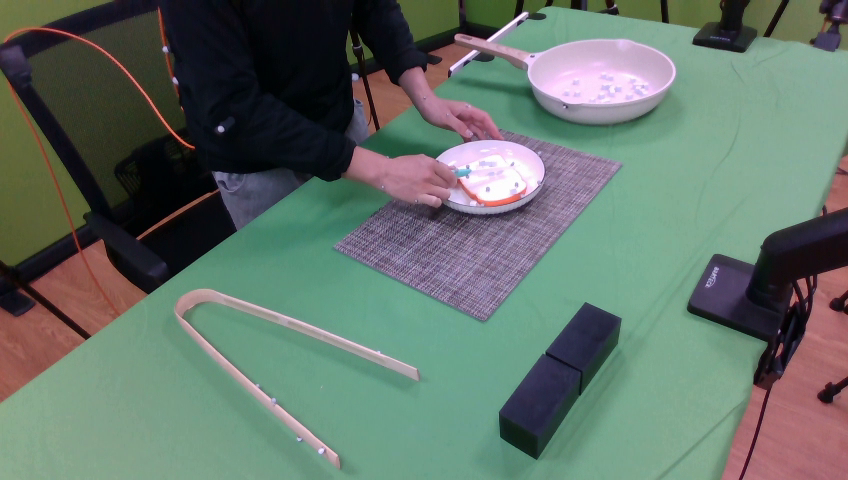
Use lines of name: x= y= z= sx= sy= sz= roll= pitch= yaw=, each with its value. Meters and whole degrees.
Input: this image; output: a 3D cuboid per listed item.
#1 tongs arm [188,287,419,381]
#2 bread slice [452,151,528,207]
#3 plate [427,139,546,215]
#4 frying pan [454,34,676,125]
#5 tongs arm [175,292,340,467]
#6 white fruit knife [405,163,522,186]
tongs arm: x=-0.177 y=0.126 z=0.842 sx=0.385 sy=0.028 sz=0.028 roll=15 pitch=48 yaw=24
bread slice: x=0.118 y=-0.105 z=1.057 sx=0.107 sy=0.018 sz=0.133 roll=-24 pitch=42 yaw=-17
plate: x=0.109 y=-0.107 z=1.059 sx=0.207 sy=0.039 sz=0.206 roll=-4 pitch=41 yaw=4
frying pan: x=0.277 y=-0.370 z=1.295 sx=0.485 sy=0.103 sz=0.307 roll=26 pitch=49 yaw=22
tongs arm: x=-0.225 y=0.168 z=0.793 sx=0.381 sy=0.026 sz=0.051 roll=25 pitch=49 yaw=33
white fruit knife: x=0.070 y=-0.115 z=1.020 sx=0.208 sy=0.027 sz=0.016 roll=-11 pitch=73 yaw=-16
